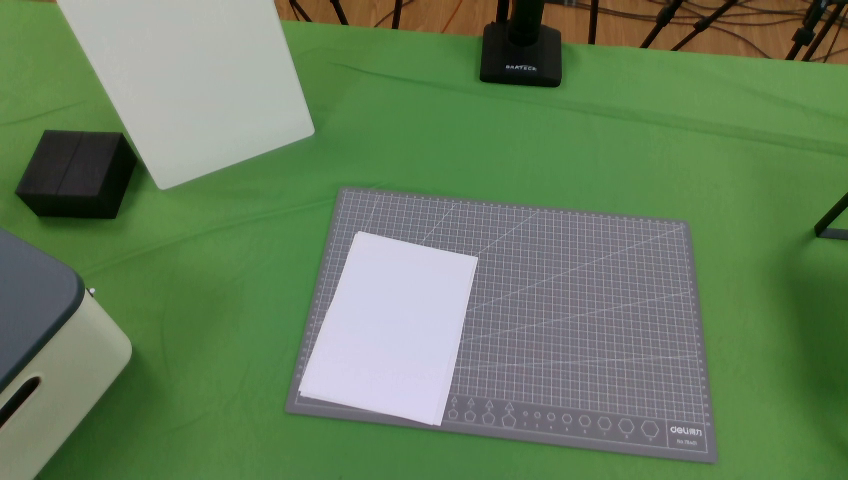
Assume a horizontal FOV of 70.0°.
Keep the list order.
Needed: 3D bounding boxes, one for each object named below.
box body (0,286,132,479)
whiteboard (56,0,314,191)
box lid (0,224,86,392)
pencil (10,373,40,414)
[{"bbox_3d":[-0.517,0.096,0.591,0.362,0.161,0.253,24,62,13],"label":"box body"},{"bbox_3d":[-0.299,-0.256,0.759,0.217,0.308,0.142,-24,43,-14],"label":"whiteboard"},{"bbox_3d":[-0.518,0.058,0.528,0.370,0.015,0.262,25,62,13],"label":"box lid"},{"bbox_3d":[-0.415,0.159,0.635,0.012,0.012,0.192,8,50,4],"label":"pencil"}]
